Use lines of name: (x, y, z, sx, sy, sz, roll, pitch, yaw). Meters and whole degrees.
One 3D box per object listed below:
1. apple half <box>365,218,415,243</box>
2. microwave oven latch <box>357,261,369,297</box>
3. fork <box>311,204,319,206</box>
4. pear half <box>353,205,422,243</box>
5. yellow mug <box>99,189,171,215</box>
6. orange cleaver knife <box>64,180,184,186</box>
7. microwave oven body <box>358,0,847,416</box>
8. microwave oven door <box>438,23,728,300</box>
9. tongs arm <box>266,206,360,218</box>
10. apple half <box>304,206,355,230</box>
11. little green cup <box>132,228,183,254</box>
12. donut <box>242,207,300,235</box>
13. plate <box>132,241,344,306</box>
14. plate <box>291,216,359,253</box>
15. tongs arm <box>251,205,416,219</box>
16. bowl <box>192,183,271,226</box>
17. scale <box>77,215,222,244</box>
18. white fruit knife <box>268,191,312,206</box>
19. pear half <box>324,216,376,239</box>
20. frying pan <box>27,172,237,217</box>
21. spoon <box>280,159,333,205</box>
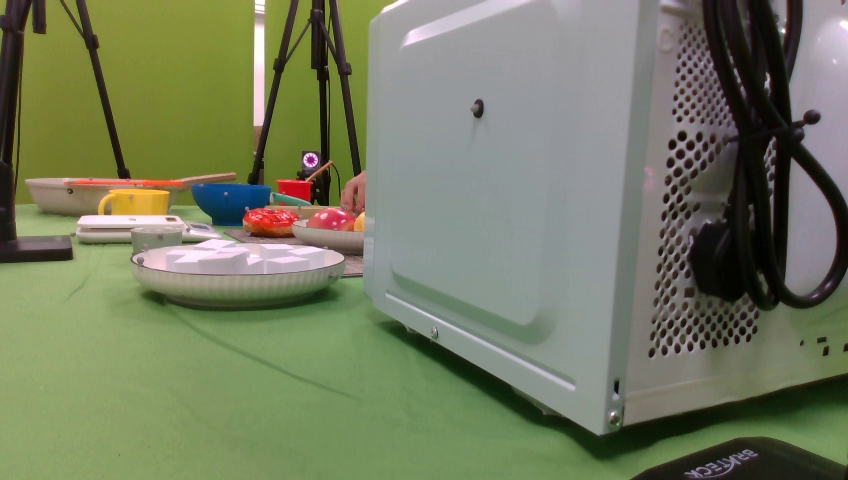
apple half: (-0.053, -0.018, 0.966, 0.081, 0.033, 0.081, -2, 13, 1)
microwave oven latch: (-0.019, 0.033, 0.531, 0.079, 0.029, 0.030, -1, 7, -27)
fork: (-0.356, -0.105, 1.526, 0.208, 0.018, 0.028, 16, -5, -41)
pear half: (-0.051, -0.024, 0.905, 0.110, 0.056, 0.076, -1, -1, -37)
yellow mug: (-0.519, -0.055, 1.080, 0.099, 0.064, 0.131, 7, 9, 26)
orange cleaver knife: (-0.595, -0.114, 1.212, 0.212, 0.012, 0.077, -4, 6, -41)
microwave oven body: (0.211, -0.047, 0.475, 0.444, 0.260, 0.324, -1, 7, -28)
microwave oven door: (0.181, -0.072, 0.621, 0.358, 0.243, 0.039, -2, 8, -29)
tongs arm: (-0.173, -0.061, 1.363, 0.387, 0.026, 0.050, -1, 3, -31)
apple half: (-0.138, -0.025, 0.916, 0.081, 0.053, 0.074, 0, 10, -43)
little green cup: (-0.342, 0.006, 0.779, 0.061, 0.038, 0.061, 2, 8, 0)
donut: (-0.263, -0.032, 1.039, 0.099, 0.048, 0.099, 4, 10, 0)
plate: (-0.187, 0.033, 0.625, 0.208, 0.039, 0.207, 2, 8, 0)
plate: (-0.102, -0.009, 0.945, 0.209, 0.038, 0.209, 2, 8, 0)
tongs arm: (-0.211, -0.067, 1.440, 0.389, 0.027, 0.028, 0, -1, -17)
bowl: (-0.382, -0.071, 1.202, 0.151, 0.077, 0.151, 3, 7, 0)
scale: (-0.434, -0.019, 0.963, 0.202, 0.031, 0.148, -1, 9, -27)
white fruit knife: (-0.364, -0.105, 1.464, 0.208, 0.027, 0.016, 15, -1, -34)
pear half: (-0.119, -0.023, 0.996, 0.088, 0.031, 0.070, -4, 23, -28)
frying pan: (-0.624, -0.118, 1.387, 0.305, 0.102, 0.490, 8, 17, 32)
spoon: (-0.316, -0.159, 1.640, 0.194, 0.022, 0.041, -49, 32, -20)
